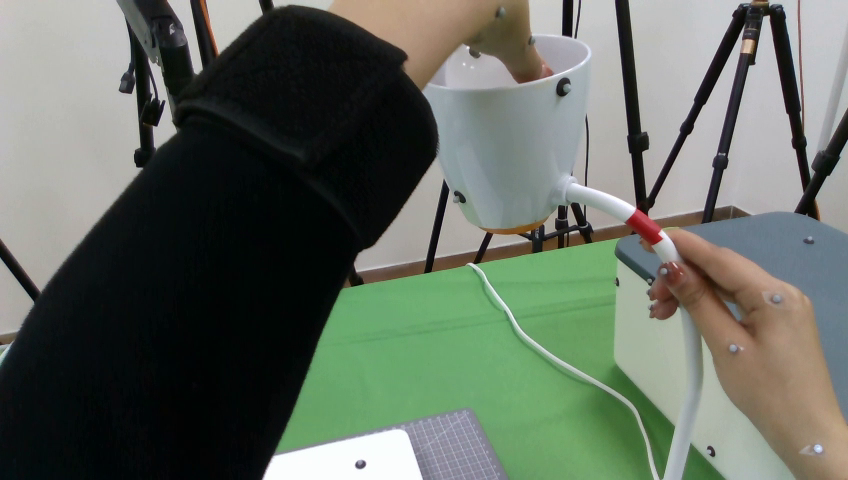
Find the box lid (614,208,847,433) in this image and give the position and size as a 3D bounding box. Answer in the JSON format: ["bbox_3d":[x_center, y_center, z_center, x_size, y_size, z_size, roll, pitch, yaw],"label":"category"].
[{"bbox_3d":[0.378,0.056,0.560,0.264,0.015,0.367,-9,27,-15],"label":"box lid"}]

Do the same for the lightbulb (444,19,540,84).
[{"bbox_3d":[0.045,-0.087,0.394,0.059,0.109,0.059,-6,39,5],"label":"lightbulb"}]

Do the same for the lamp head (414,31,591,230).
[{"bbox_3d":[0.059,-0.068,0.407,0.112,0.124,0.111,-10,28,6],"label":"lamp head"}]

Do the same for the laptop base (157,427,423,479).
[{"bbox_3d":[-0.159,0.275,0.494,0.355,0.023,0.233,-9,30,-13],"label":"laptop base"}]

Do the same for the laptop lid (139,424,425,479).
[{"bbox_3d":[-0.159,0.265,0.486,0.357,0.013,0.239,-8,29,-11],"label":"laptop lid"}]

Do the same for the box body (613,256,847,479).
[{"bbox_3d":[0.381,0.124,0.592,0.255,0.161,0.360,-10,27,-15],"label":"box body"}]

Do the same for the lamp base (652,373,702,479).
[{"bbox_3d":[0.169,0.197,0.438,0.160,0.181,0.179,9,26,20],"label":"lamp base"}]
